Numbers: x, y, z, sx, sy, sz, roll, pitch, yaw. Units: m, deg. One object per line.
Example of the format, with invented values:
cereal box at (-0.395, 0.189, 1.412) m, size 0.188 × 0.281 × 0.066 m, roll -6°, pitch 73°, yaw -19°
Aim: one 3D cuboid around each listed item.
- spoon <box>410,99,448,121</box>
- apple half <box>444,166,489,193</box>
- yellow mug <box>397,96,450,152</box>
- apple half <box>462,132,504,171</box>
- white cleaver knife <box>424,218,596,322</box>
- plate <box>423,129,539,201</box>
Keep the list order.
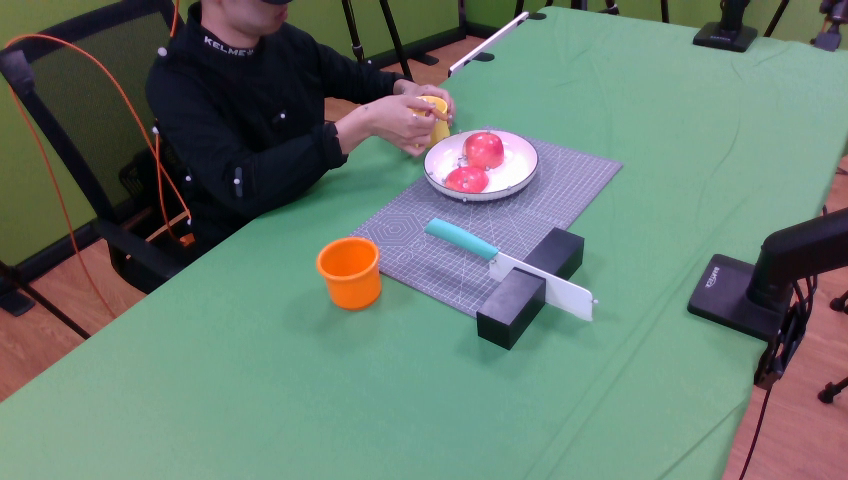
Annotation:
spoon at (0.011, -0.242, 1.121) m, size 0.042 × 0.022 × 0.192 m, roll -14°, pitch 21°, yaw -10°
apple half at (0.074, -0.112, 1.063) m, size 0.081 × 0.033 × 0.081 m, roll -6°, pitch 39°, yaw 5°
yellow mug at (-0.004, -0.226, 1.200) m, size 0.099 × 0.064 × 0.130 m, roll 5°, pitch 43°, yaw 15°
apple half at (0.109, -0.170, 1.110) m, size 0.075 × 0.053 × 0.080 m, roll -6°, pitch 40°, yaw -2°
white cleaver knife at (0.114, 0.042, 0.865) m, size 0.284 × 0.066 × 0.021 m, roll 27°, pitch 47°, yaw 28°
plate at (0.103, -0.132, 1.092) m, size 0.209 × 0.038 × 0.208 m, roll -4°, pitch 40°, yaw 4°
